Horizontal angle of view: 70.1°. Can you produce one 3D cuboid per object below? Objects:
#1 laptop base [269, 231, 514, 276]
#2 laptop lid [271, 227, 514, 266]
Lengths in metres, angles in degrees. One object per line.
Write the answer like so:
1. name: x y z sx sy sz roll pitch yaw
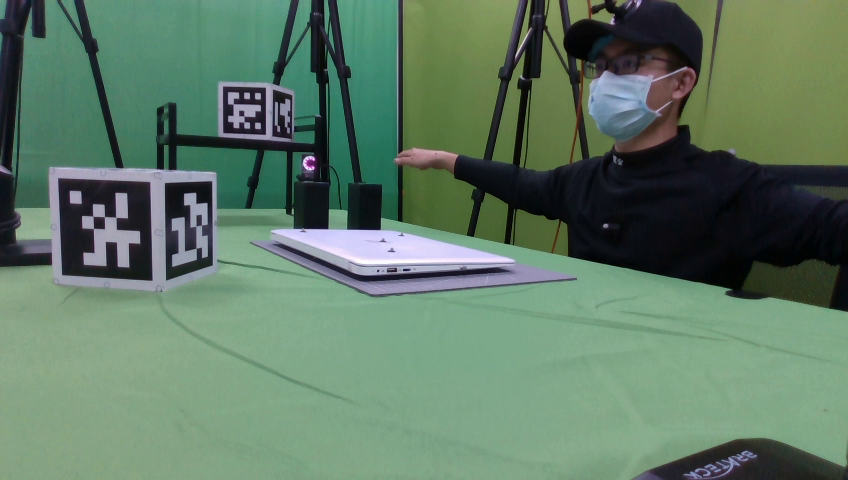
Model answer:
1. laptop base: -0.066 0.017 0.893 0.237 0.023 0.352 1 6 -32
2. laptop lid: -0.063 0.005 0.893 0.243 0.013 0.355 1 7 -30
